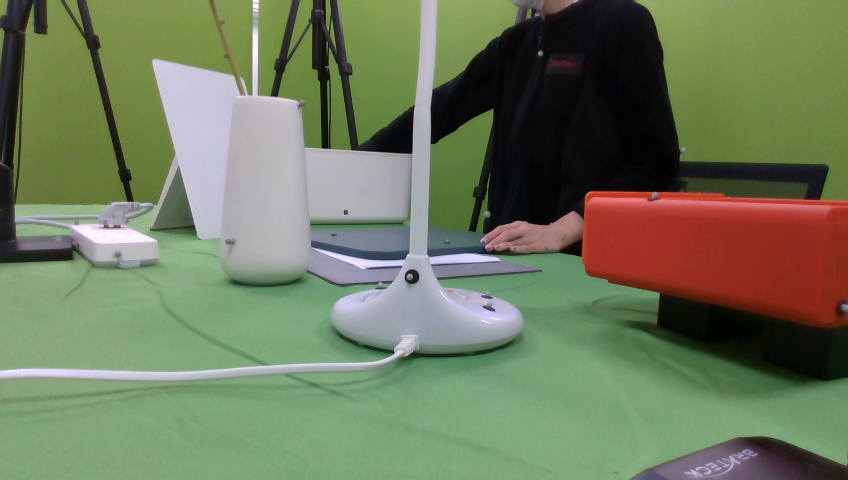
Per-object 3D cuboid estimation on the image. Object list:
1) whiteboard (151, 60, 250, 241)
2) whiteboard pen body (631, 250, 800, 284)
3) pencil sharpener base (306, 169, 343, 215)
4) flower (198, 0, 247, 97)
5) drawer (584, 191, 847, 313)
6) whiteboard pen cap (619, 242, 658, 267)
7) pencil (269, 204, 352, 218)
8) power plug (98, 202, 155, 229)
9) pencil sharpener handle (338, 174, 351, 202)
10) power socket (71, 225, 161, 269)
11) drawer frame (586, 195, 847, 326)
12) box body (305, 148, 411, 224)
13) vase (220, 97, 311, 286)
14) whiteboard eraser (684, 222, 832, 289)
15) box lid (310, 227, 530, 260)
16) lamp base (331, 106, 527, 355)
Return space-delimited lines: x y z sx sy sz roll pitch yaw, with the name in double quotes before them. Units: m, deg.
"whiteboard" -0.408 -0.140 1.094 0.143 0.305 0.218 -15 0 25
"whiteboard pen body" 0.239 0.020 0.512 0.017 0.017 0.140 -4 8 -41
"pencil sharpener base" -0.234 -0.113 1.433 0.077 0.107 0.061 0 6 -30
"flower" -0.187 -0.133 0.648 0.038 0.362 0.044 -1 22 43
"drawer" 0.280 0.001 0.513 0.195 0.073 0.211 -1 8 -28
"whiteboard pen cap" 0.199 0.013 0.557 0.018 0.018 0.033 -4 17 -39
"pencil" -0.247 -0.066 1.339 0.195 0.012 0.012 -10 12 -27
"power plug" -0.416 -0.027 0.848 0.073 0.052 0.035 0 8 -28
"pencil sharpener handle" -0.189 -0.125 1.459 0.031 0.067 0.036 0 9 -30
"power socket" -0.408 0.004 0.793 0.072 0.032 0.225 -2 8 -38
"drawer frame" 0.284 0.004 0.509 0.203 0.082 0.212 -1 6 -28
"box body" -0.233 -0.127 1.373 0.366 0.160 0.253 -2 8 -29
"vase" -0.172 -0.052 0.662 0.098 0.200 0.098 3 9 0
"whiteboard eraser" 0.304 0.013 0.558 0.056 0.042 0.112 -10 20 -30
"box lid" -0.024 0.002 1.023 0.374 0.015 0.262 -3 9 -44
"lamp base" 0.006 -0.012 0.478 0.161 0.180 0.179 2 10 2
